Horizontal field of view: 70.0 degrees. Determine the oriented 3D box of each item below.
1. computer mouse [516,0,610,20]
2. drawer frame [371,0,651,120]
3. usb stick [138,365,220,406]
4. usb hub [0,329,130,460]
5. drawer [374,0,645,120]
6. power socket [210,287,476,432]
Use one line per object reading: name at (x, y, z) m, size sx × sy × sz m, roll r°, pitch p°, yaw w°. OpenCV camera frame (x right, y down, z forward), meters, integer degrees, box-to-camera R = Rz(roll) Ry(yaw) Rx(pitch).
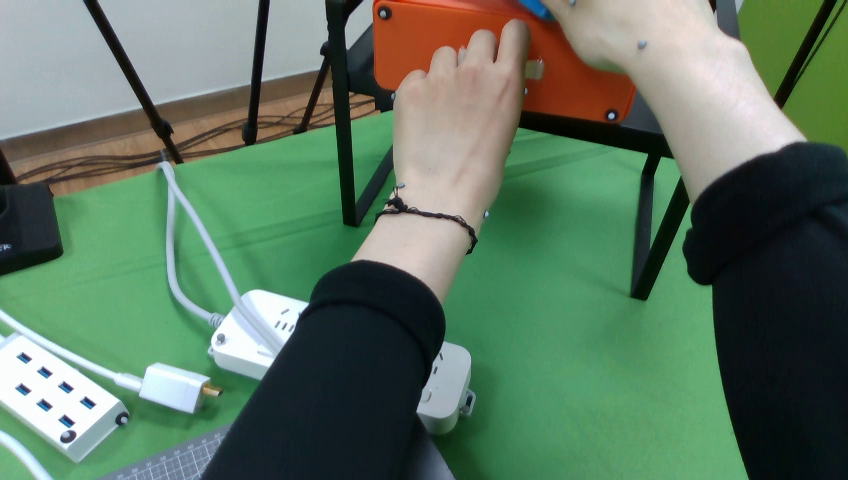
computer mouse at (0.078, -0.196, 0.429) m, size 0.063 × 0.041 × 0.116 m, roll -15°, pitch 47°, yaw -31°
drawer frame at (0.078, -0.204, 0.522) m, size 0.201 × 0.083 × 0.212 m, roll 9°, pitch 44°, yaw 6°
usb stick at (-0.190, 0.115, 0.477) m, size 0.059 × 0.021 × 0.027 m, roll 12°, pitch 87°, yaw -14°
usb hub at (-0.293, 0.117, 0.470) m, size 0.124 × 0.025 × 0.049 m, roll 24°, pitch 48°, yaw 20°
drawer at (0.078, -0.199, 0.518) m, size 0.194 × 0.074 × 0.210 m, roll 10°, pitch 45°, yaw 7°
power socket at (-0.067, 0.095, 0.502) m, size 0.226 × 0.033 × 0.072 m, roll 14°, pitch 45°, yaw 11°
